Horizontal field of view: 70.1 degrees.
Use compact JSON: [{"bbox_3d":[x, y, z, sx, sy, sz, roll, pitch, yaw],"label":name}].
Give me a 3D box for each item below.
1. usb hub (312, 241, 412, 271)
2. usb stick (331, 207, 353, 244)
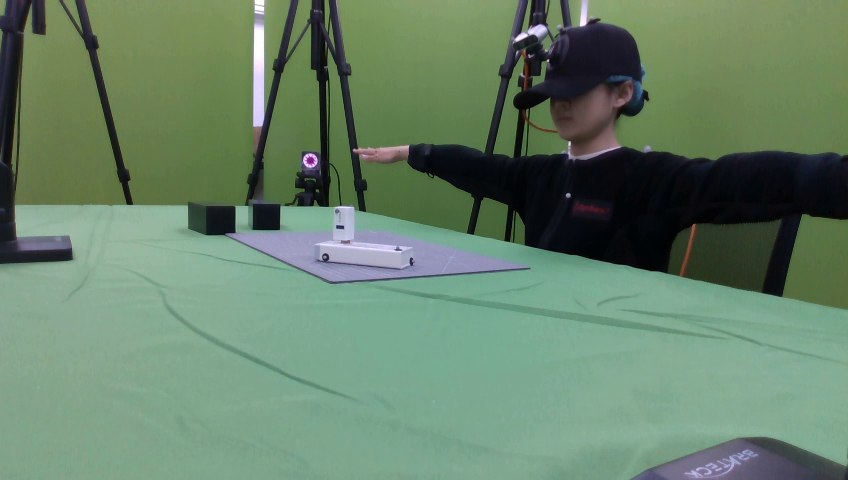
[{"bbox_3d":[-0.083,0.020,0.803,0.125,0.025,0.049,5,8,17],"label":"usb hub"},{"bbox_3d":[-0.110,-0.014,0.812,0.021,0.059,0.027,6,11,16],"label":"usb stick"}]
